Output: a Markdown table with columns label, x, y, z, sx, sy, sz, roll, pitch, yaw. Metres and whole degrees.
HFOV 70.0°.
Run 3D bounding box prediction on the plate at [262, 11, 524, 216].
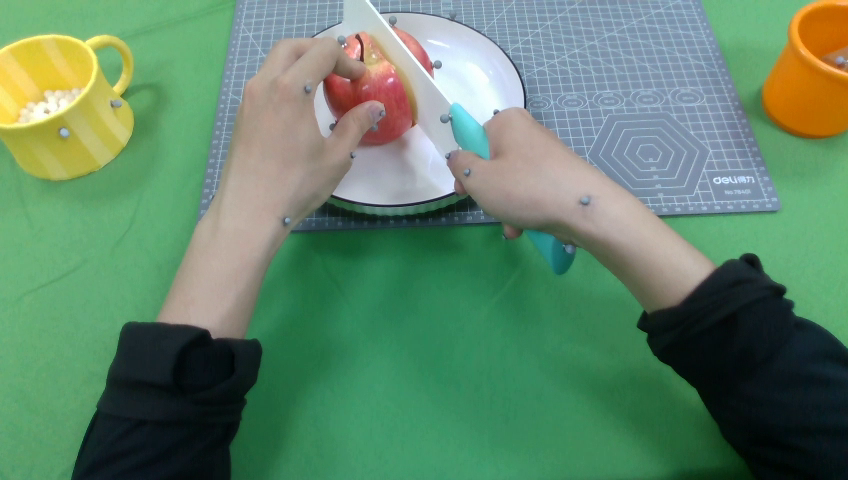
| label | x | y | z | sx | sy | sz | roll | pitch | yaw |
| --- | --- | --- | --- | --- | --- | --- | --- | --- | --- |
| plate | -0.024 | -0.103 | 0.494 | 0.209 | 0.038 | 0.207 | 0 | 60 | 1 |

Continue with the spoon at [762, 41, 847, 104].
| label | x | y | z | sx | sy | sz | roll | pitch | yaw |
| --- | --- | --- | --- | --- | --- | --- | --- | --- | --- |
| spoon | 0.359 | -0.165 | 0.461 | 0.022 | 0.194 | 0.041 | 22 | 48 | -38 |

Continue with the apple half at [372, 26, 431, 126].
| label | x | y | z | sx | sy | sz | roll | pitch | yaw |
| --- | --- | --- | --- | --- | --- | --- | --- | --- | --- |
| apple half | -0.014 | -0.132 | 0.482 | 0.033 | 0.082 | 0.080 | -28 | 63 | -18 |

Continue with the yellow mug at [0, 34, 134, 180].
| label | x | y | z | sx | sy | sz | roll | pitch | yaw |
| --- | --- | --- | --- | --- | --- | --- | --- | --- | --- |
| yellow mug | -0.292 | -0.119 | 0.495 | 0.099 | 0.064 | 0.130 | 29 | 63 | 16 |

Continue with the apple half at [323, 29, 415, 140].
| label | x | y | z | sx | sy | sz | roll | pitch | yaw |
| --- | --- | --- | --- | --- | --- | --- | --- | --- | --- |
| apple half | -0.049 | -0.113 | 0.469 | 0.053 | 0.075 | 0.080 | -33 | 66 | -9 |

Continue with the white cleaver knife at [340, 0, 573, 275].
| label | x | y | z | sx | sy | sz | roll | pitch | yaw |
| --- | --- | --- | --- | --- | --- | --- | --- | --- | --- |
| white cleaver knife | 0.012 | -0.087 | 0.437 | 0.021 | 0.066 | 0.284 | -28 | 67 | -17 |
